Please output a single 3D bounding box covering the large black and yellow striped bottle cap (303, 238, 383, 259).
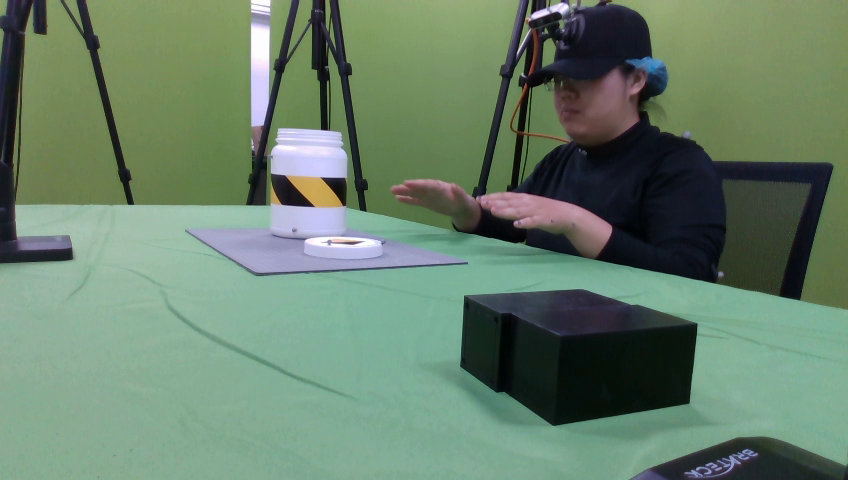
[{"bbox_3d":[-0.117,0.011,0.880,0.115,0.019,0.115,2,6,0],"label":"large black and yellow striped bottle cap"}]

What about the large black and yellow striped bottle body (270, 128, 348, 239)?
[{"bbox_3d":[-0.200,-0.099,1.053,0.131,0.184,0.130,3,8,0],"label":"large black and yellow striped bottle body"}]
